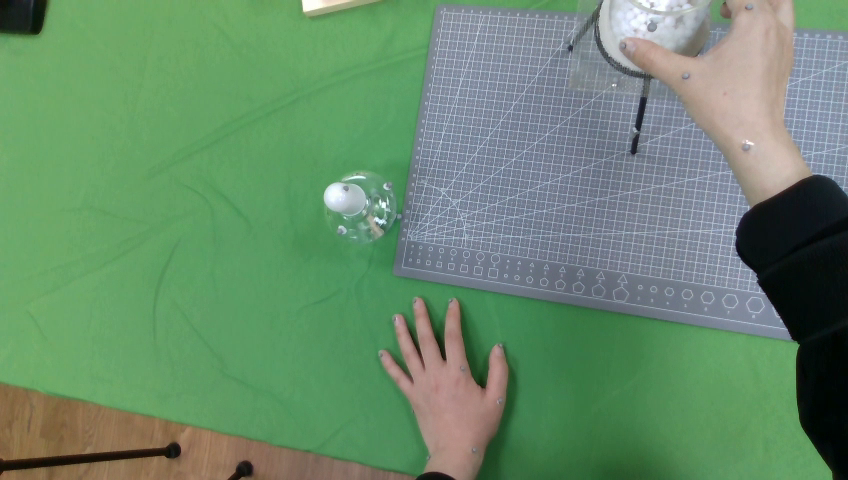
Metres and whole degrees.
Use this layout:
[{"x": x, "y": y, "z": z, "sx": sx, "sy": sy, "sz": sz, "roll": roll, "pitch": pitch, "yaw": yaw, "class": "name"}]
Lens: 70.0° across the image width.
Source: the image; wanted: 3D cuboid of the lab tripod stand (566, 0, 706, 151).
[{"x": 0.196, "y": -0.167, "z": 0.552, "sx": 0.148, "sy": 0.132, "sz": 0.148, "roll": -1, "pitch": 86, "yaw": 10, "class": "lab tripod stand"}]

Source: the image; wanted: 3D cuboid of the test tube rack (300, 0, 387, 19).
[{"x": -0.032, "y": -0.308, "z": 0.638, "sx": 0.242, "sy": 0.085, "sz": 0.066, "roll": -9, "pitch": 83, "yaw": 11, "class": "test tube rack"}]

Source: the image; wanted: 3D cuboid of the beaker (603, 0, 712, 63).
[{"x": 0.167, "y": -0.179, "z": 0.442, "sx": 0.083, "sy": 0.100, "sz": 0.074, "roll": 22, "pitch": 91, "yaw": 13, "class": "beaker"}]

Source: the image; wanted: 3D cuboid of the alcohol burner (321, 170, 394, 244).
[{"x": -0.072, "y": -0.037, "z": 0.611, "sx": 0.078, "sy": 0.119, "sz": 0.077, "roll": -1, "pitch": 83, "yaw": 11, "class": "alcohol burner"}]

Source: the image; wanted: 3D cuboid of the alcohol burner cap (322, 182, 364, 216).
[{"x": -0.080, "y": -0.041, "z": 0.576, "sx": 0.034, "sy": 0.048, "sz": 0.034, "roll": 0, "pitch": 89, "yaw": 12, "class": "alcohol burner cap"}]

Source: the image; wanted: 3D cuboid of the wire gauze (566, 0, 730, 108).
[{"x": 0.183, "y": -0.173, "z": 0.488, "sx": 0.125, "sy": 0.011, "sz": 0.121, "roll": 8, "pitch": 91, "yaw": 10, "class": "wire gauze"}]
